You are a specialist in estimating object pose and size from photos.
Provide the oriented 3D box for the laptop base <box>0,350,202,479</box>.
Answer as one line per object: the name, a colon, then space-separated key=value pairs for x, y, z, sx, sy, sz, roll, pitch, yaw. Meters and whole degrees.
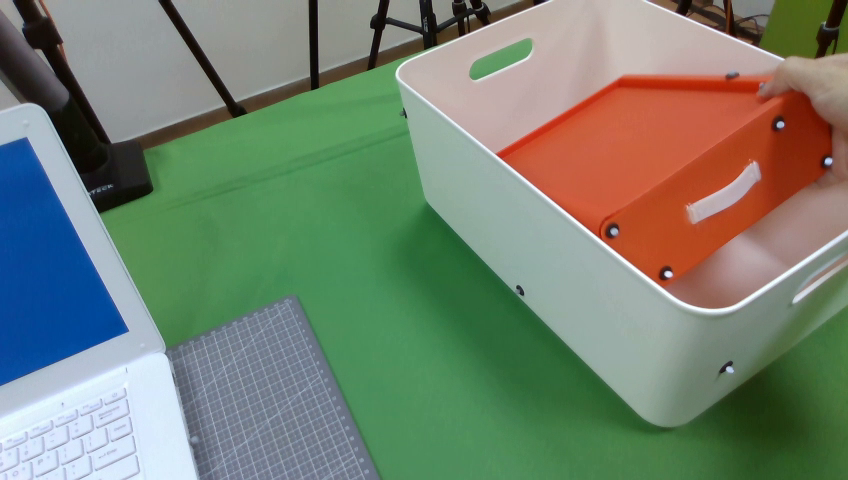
laptop base: x=-0.327 y=0.237 z=0.419 sx=0.355 sy=0.023 sz=0.233 roll=-24 pitch=50 yaw=-14

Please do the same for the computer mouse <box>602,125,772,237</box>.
computer mouse: x=0.196 y=-0.048 z=0.456 sx=0.117 sy=0.041 sz=0.062 roll=-22 pitch=51 yaw=-3

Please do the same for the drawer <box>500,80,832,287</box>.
drawer: x=0.172 y=-0.059 z=0.504 sx=0.194 sy=0.074 sz=0.210 roll=-34 pitch=24 yaw=-9

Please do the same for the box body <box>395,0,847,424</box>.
box body: x=0.173 y=-0.055 z=0.524 sx=0.254 sy=0.162 sz=0.360 roll=-28 pitch=48 yaw=-18

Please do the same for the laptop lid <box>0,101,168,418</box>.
laptop lid: x=-0.417 y=0.061 z=0.461 sx=0.357 sy=0.243 sz=0.013 roll=-25 pitch=18 yaw=-14

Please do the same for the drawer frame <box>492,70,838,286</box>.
drawer frame: x=0.172 y=-0.061 z=0.506 sx=0.201 sy=0.083 sz=0.212 roll=-33 pitch=22 yaw=-10
